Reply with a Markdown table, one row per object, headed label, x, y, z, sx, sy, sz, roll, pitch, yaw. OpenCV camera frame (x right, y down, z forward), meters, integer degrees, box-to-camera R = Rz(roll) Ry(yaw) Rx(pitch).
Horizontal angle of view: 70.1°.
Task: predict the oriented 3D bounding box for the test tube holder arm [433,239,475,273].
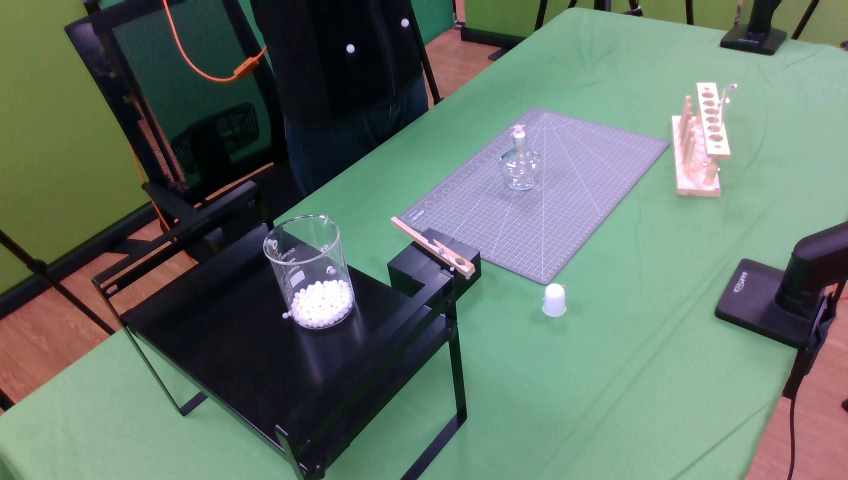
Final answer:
| label | x | y | z | sx | sy | sz | roll | pitch | yaw |
| --- | --- | --- | --- | --- | --- | --- | --- | --- | --- |
| test tube holder arm | 0.040 | 0.024 | 0.871 | 0.010 | 0.015 | 0.087 | -33 | 46 | -28 |

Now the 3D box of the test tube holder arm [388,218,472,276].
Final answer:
| label | x | y | z | sx | sy | sz | roll | pitch | yaw |
| --- | --- | --- | --- | --- | --- | --- | --- | --- | --- |
| test tube holder arm | 0.005 | 0.008 | 0.895 | 0.013 | 0.015 | 0.177 | -35 | 46 | -29 |

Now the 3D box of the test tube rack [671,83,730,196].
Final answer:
| label | x | y | z | sx | sy | sz | roll | pitch | yaw |
| --- | --- | --- | --- | --- | --- | --- | --- | --- | --- |
| test tube rack | 0.482 | -0.184 | 1.067 | 0.066 | 0.085 | 0.242 | 5 | 42 | 15 |

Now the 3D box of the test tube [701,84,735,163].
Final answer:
| label | x | y | z | sx | sy | sz | roll | pitch | yaw |
| --- | --- | --- | --- | --- | --- | --- | --- | --- | --- |
| test tube | 0.483 | -0.189 | 0.996 | 0.017 | 0.151 | 0.017 | -2 | 46 | 3 |

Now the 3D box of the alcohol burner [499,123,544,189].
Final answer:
| label | x | y | z | sx | sy | sz | roll | pitch | yaw |
| --- | --- | --- | --- | --- | --- | --- | --- | --- | --- |
| alcohol burner | 0.168 | -0.149 | 1.048 | 0.078 | 0.119 | 0.077 | -6 | 41 | 5 |

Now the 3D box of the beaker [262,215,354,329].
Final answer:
| label | x | y | z | sx | sy | sz | roll | pitch | yaw |
| --- | --- | --- | --- | --- | --- | --- | --- | --- | --- |
| beaker | -0.112 | 0.034 | 0.616 | 0.073 | 0.101 | 0.084 | 13 | 44 | 23 |

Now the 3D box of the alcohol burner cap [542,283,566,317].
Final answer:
| label | x | y | z | sx | sy | sz | roll | pitch | yaw |
| --- | --- | --- | --- | --- | --- | --- | --- | --- | --- |
| alcohol burner cap | 0.181 | 0.080 | 0.840 | 0.034 | 0.048 | 0.033 | -3 | 40 | 3 |
